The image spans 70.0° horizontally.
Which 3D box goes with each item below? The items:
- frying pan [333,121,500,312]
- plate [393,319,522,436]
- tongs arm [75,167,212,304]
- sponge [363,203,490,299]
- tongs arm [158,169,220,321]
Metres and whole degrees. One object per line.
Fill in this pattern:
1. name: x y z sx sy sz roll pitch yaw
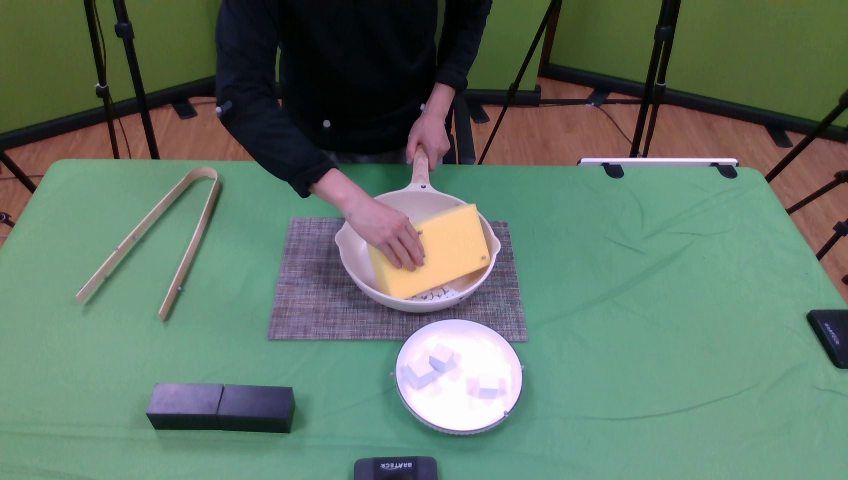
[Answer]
1. frying pan: -0.010 -0.063 1.195 0.307 0.103 0.485 4 55 -2
2. plate: 0.053 0.222 0.979 0.208 0.039 0.206 3 46 -2
3. tongs arm: -0.525 -0.021 1.167 0.051 0.026 0.383 13 46 7
4. sponge: 0.008 0.020 1.093 0.207 0.118 0.060 -22 11 -23
5. tongs arm: -0.446 -0.005 1.164 0.028 0.028 0.385 1 46 0
